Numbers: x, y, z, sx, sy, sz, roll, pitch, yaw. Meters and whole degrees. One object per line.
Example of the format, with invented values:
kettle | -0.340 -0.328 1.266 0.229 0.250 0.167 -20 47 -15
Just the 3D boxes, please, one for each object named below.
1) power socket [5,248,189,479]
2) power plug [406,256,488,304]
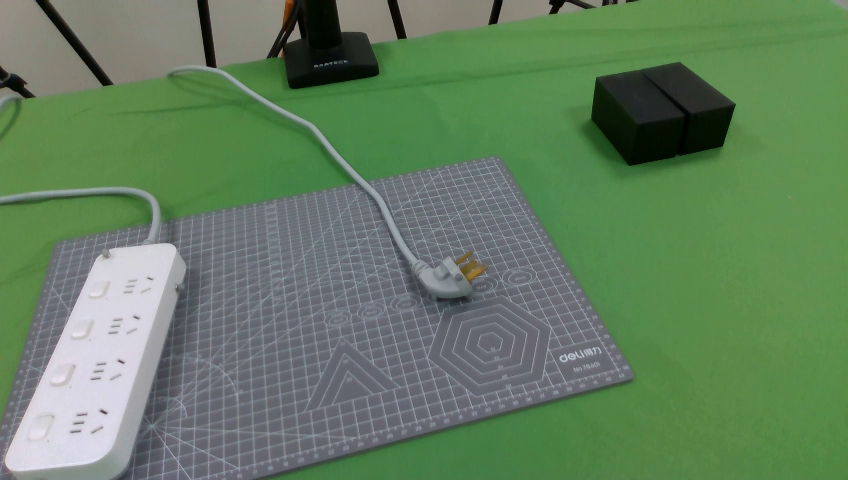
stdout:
power socket | -0.237 0.087 0.461 0.072 0.033 0.224 -5 42 -1
power plug | 0.017 0.022 0.502 0.052 0.035 0.072 -32 59 -5
